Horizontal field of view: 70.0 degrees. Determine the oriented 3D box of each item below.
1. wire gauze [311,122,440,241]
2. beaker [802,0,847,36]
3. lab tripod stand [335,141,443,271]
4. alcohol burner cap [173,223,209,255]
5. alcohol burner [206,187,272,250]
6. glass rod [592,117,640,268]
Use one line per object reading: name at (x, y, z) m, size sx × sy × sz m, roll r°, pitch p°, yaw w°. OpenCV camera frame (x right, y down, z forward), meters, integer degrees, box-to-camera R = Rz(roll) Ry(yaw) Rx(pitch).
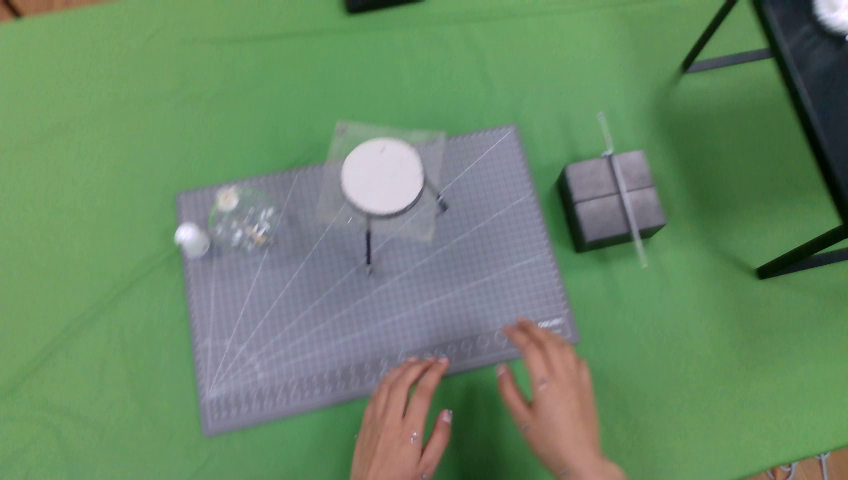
wire gauze at (-0.049, -0.066, 0.640) m, size 0.125 × 0.011 × 0.121 m, roll 8°, pitch 73°, yaw 1°
beaker at (0.444, -0.266, 0.616) m, size 0.074 × 0.101 × 0.083 m, roll -35°, pitch 76°, yaw -12°
lab tripod stand at (-0.047, -0.048, 0.705) m, size 0.148 × 0.132 × 0.147 m, roll 1°, pitch 71°, yaw -2°
alcohol burner cap at (-0.284, -0.003, 0.732) m, size 0.034 × 0.048 × 0.033 m, roll -1°, pitch 73°, yaw 2°
alcohol burner at (-0.219, -0.031, 0.705) m, size 0.078 × 0.119 × 0.077 m, roll 1°, pitch 72°, yaw -2°
glass rod at (0.232, -0.060, 0.734) m, size 0.008 × 0.008 × 0.198 m, roll -10°, pitch 74°, yaw -4°
